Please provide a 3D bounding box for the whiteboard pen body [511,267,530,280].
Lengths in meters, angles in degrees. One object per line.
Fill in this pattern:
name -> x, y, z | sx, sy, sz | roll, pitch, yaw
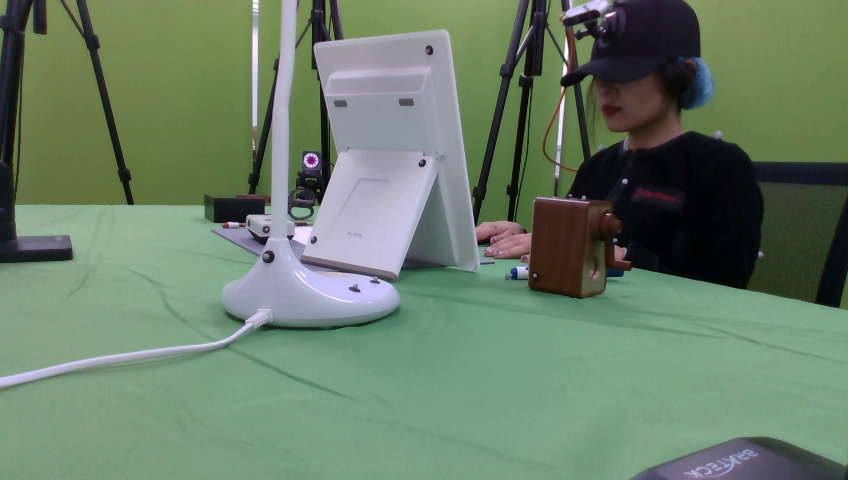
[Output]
whiteboard pen body -> 0.178, 0.041, 0.758 | 0.141, 0.017, 0.017 | 0, 8, -8

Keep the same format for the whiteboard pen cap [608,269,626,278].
whiteboard pen cap -> 0.237, 0.039, 0.766 | 0.033, 0.018, 0.018 | -2, 8, -8

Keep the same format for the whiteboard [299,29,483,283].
whiteboard -> -0.074, -0.082, 0.742 | 0.216, 0.305, 0.144 | 9, 29, 37

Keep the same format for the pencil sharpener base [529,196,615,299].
pencil sharpener base -> 0.168, 0.007, 0.678 | 0.076, 0.107, 0.062 | 10, 10, 42

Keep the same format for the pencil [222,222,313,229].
pencil -> -0.302, -0.030, 1.189 | 0.195, 0.012, 0.012 | -2, 9, -42

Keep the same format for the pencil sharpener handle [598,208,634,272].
pencil sharpener handle -> 0.208, 0.000, 0.645 | 0.030, 0.068, 0.036 | 10, 22, 42

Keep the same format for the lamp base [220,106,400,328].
lamp base -> -0.101, -0.023, 0.531 | 0.160, 0.180, 0.179 | 4, 10, 10

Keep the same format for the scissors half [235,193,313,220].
scissors half -> -0.325, -0.077, 1.320 | 0.176, 0.040, 0.012 | 17, 8, -32

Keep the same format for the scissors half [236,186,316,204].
scissors half -> -0.320, -0.096, 1.316 | 0.176, 0.040, 0.013 | -3, 14, -29

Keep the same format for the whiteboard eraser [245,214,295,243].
whiteboard eraser -> -0.247, -0.018, 0.965 | 0.056, 0.042, 0.112 | 0, 8, -28
